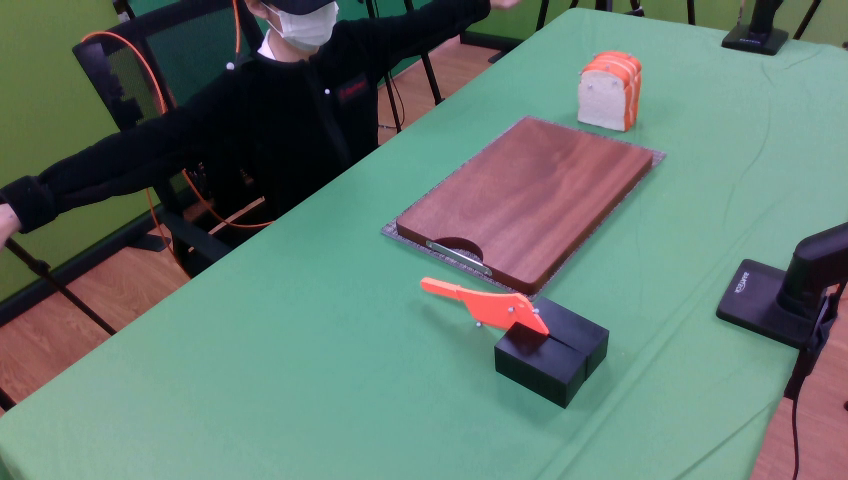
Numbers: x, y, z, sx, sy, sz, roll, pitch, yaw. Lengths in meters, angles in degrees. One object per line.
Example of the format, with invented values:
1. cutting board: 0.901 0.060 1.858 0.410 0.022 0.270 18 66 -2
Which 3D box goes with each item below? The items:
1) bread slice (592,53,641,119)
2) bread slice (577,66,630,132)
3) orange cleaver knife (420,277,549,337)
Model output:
1. bread slice: 0.373 -0.302 1.186 0.106 0.135 0.018 23 55 24
2. bread slice: 0.341 -0.271 1.159 0.104 0.132 0.019 21 56 31
3. orange cleaver knife: 0.076 0.089 0.812 0.209 0.077 0.012 9 44 47
